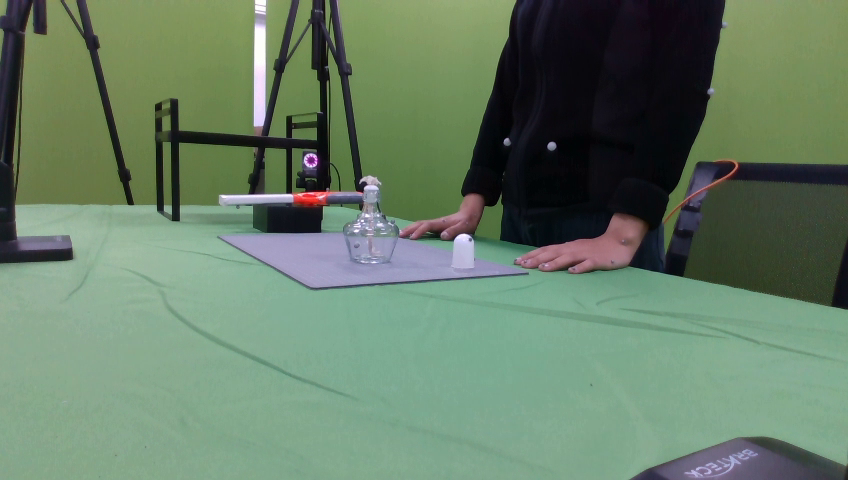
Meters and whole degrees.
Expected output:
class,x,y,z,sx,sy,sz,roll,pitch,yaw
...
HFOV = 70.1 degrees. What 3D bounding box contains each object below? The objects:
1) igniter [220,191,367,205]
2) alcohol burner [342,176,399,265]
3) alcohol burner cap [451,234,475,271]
class,x,y,z,sx,sy,sz,roll,pitch,yaw
igniter,-0.243,-0.079,1.152,0.278,0.025,0.057,-3,12,-26
alcohol burner,-0.073,-0.027,0.818,0.078,0.119,0.078,1,6,0
alcohol burner cap,0.052,0.016,0.808,0.034,0.048,0.034,3,9,0
